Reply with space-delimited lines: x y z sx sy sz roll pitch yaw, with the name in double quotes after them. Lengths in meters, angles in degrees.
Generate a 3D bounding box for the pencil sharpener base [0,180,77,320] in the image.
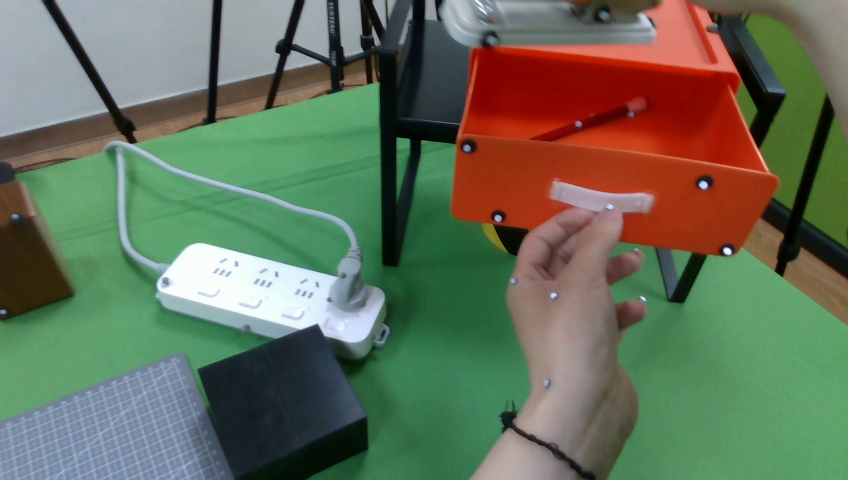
-0.379 0.012 0.552 0.077 0.108 0.060 -24 50 -25 "pencil sharpener base"

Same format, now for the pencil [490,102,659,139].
0.116 -0.094 0.494 0.194 0.012 0.012 -15 46 -22 "pencil"

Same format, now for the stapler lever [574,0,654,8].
0.077 -0.150 0.328 0.118 0.040 0.026 -6 57 -19 "stapler lever"

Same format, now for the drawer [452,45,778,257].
0.131 -0.092 0.460 0.194 0.074 0.210 8 43 5 "drawer"

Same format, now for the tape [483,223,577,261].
0.124 -0.035 0.680 0.117 0.053 0.115 2 45 -2 "tape"

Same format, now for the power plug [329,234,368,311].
-0.062 0.037 0.569 0.035 0.053 0.072 21 47 17 "power plug"

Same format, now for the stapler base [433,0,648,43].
0.071 -0.134 0.347 0.131 0.024 0.041 -6 57 -19 "stapler base"

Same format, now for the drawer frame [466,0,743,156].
0.147 -0.175 0.544 0.201 0.083 0.211 7 43 4 "drawer frame"

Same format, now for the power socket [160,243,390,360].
-0.142 0.056 0.577 0.226 0.033 0.072 13 44 10 "power socket"
